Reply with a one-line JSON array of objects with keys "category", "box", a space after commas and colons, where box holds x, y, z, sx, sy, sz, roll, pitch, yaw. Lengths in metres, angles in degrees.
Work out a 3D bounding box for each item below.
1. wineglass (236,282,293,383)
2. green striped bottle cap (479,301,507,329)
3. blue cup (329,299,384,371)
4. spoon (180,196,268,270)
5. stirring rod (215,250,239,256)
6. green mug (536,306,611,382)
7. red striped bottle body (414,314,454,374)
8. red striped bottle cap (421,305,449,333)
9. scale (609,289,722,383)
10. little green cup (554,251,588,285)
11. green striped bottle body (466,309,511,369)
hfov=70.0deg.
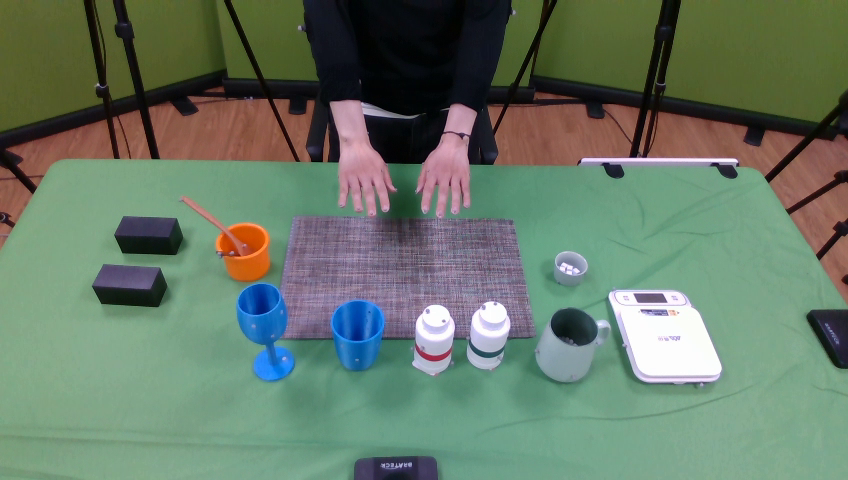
[{"category": "wineglass", "box": [-0.243, 0.143, 0.934, 0.074, 0.173, 0.073, 2, 46, -2]}, {"category": "green striped bottle cap", "box": [0.109, 0.118, 0.950, 0.044, 0.020, 0.044, 2, 47, -2]}, {"category": "blue cup", "box": [-0.109, 0.160, 0.979, 0.093, 0.101, 0.092, 4, 46, -3]}, {"category": "spoon", "box": [-0.359, -0.014, 1.094, 0.021, 0.194, 0.041, -28, 26, 31]}, {"category": "stirring rod", "box": [-0.339, 0.024, 1.059, 0.014, 0.176, 0.006, 17, 86, -6]}, {"category": "green mug", "box": [0.250, 0.167, 0.996, 0.125, 0.105, 0.092, -16, 49, -18]}, {"category": "red striped bottle body", "box": [0.016, 0.158, 0.977, 0.063, 0.120, 0.062, 1, 46, -1]}, {"category": "red striped bottle cap", "box": [0.018, 0.122, 0.938, 0.044, 0.018, 0.044, 2, 44, -2]}, {"category": "scale", "box": [0.419, 0.159, 1.066, 0.149, 0.032, 0.199, 1, 46, -4]}, {"category": "little green cup", "box": [0.276, 0.055, 1.151, 0.061, 0.039, 0.061, 1, 46, -1]}, {"category": "green striped bottle body", "box": [0.105, 0.154, 0.987, 0.063, 0.120, 0.063, 2, 46, -2]}]
